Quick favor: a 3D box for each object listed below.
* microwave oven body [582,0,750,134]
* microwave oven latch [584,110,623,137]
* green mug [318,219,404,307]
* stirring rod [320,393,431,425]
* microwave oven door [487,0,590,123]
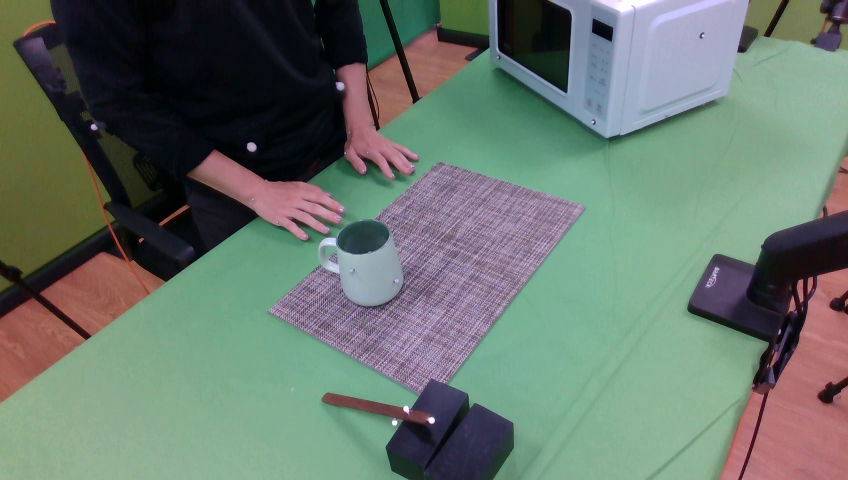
[{"bbox_3d":[0.382,-0.445,1.246,0.327,0.261,0.437,-22,42,-16],"label":"microwave oven body"},{"bbox_3d":[0.337,-0.222,1.142,0.030,0.029,0.078,-21,42,-14],"label":"microwave oven latch"},{"bbox_3d":[-0.096,0.032,0.876,0.125,0.105,0.092,8,43,17],"label":"green mug"},{"bbox_3d":[-0.061,0.198,0.712,0.175,0.006,0.014,-2,37,39],"label":"stirring rod"},{"bbox_3d":[0.232,-0.420,1.231,0.039,0.245,0.352,-22,43,-16],"label":"microwave oven door"}]
